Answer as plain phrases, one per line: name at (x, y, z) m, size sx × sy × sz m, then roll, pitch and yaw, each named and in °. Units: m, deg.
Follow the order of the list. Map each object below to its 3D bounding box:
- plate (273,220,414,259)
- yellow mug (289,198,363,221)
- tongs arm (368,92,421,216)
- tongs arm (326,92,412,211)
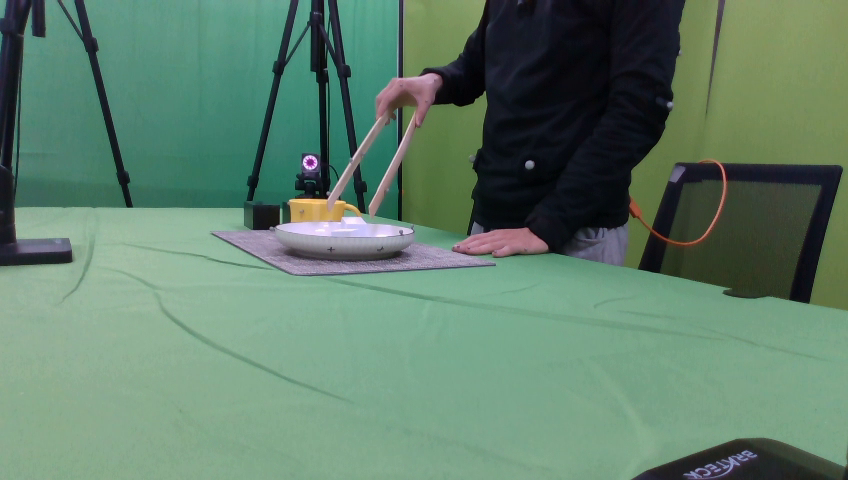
plate at (-0.118, -0.001, 0.903) m, size 0.208 × 0.039 × 0.207 m, roll 3°, pitch 7°, yaw 0°
yellow mug at (-0.173, -0.039, 1.072) m, size 0.131 × 0.064 × 0.100 m, roll 3°, pitch 7°, yaw 0°
tongs arm at (-0.049, -0.169, 1.095) m, size 0.028 × 0.028 × 0.387 m, roll 1°, pitch 40°, yaw 14°
tongs arm at (-0.090, -0.174, 1.104) m, size 0.050 × 0.026 × 0.384 m, roll 5°, pitch 40°, yaw 12°
